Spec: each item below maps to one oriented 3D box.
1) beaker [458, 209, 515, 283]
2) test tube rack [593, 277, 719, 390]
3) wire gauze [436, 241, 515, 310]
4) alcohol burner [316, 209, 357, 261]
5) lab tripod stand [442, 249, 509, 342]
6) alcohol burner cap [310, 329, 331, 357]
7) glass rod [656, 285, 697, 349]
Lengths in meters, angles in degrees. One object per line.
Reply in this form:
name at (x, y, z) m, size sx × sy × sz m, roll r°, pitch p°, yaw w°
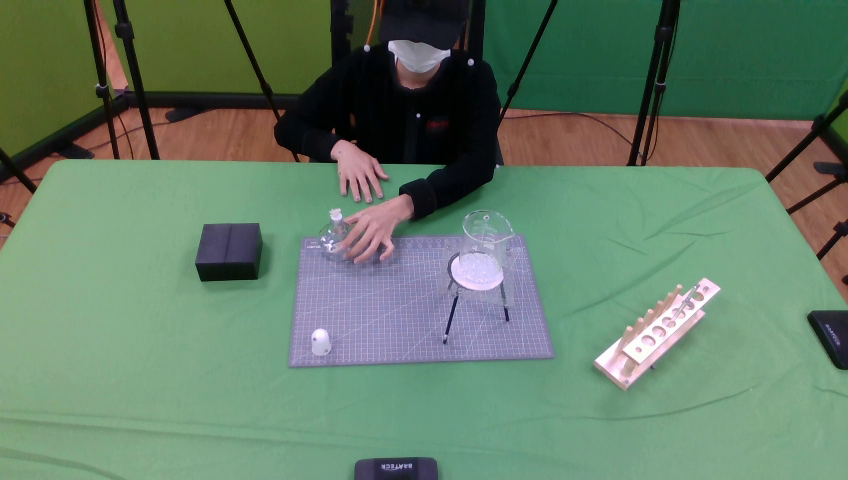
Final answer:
beaker at (0.094, 0.013, 0.952) m, size 0.084 × 0.101 × 0.073 m, roll 12°, pitch 46°, yaw 7°
test tube rack at (0.401, 0.148, 1.043) m, size 0.242 × 0.085 × 0.066 m, roll -30°, pitch 55°, yaw -29°
wire gauze at (0.086, 0.052, 0.982) m, size 0.125 × 0.011 × 0.121 m, roll 11°, pitch 47°, yaw 2°
alcohol burner at (-0.164, -0.016, 1.132) m, size 0.078 × 0.119 × 0.077 m, roll 2°, pitch 50°, yaw -2°
lab tripod stand at (0.082, 0.091, 1.036) m, size 0.148 × 0.132 × 0.147 m, roll 3°, pitch 44°, yaw -3°
alcohol burner cap at (-0.173, 0.168, 1.004) m, size 0.034 × 0.048 × 0.033 m, roll 2°, pitch 46°, yaw -2°
glass rod at (0.401, 0.128, 0.971) m, size 0.008 × 0.201 × 0.008 m, roll 0°, pitch 53°, yaw 1°
